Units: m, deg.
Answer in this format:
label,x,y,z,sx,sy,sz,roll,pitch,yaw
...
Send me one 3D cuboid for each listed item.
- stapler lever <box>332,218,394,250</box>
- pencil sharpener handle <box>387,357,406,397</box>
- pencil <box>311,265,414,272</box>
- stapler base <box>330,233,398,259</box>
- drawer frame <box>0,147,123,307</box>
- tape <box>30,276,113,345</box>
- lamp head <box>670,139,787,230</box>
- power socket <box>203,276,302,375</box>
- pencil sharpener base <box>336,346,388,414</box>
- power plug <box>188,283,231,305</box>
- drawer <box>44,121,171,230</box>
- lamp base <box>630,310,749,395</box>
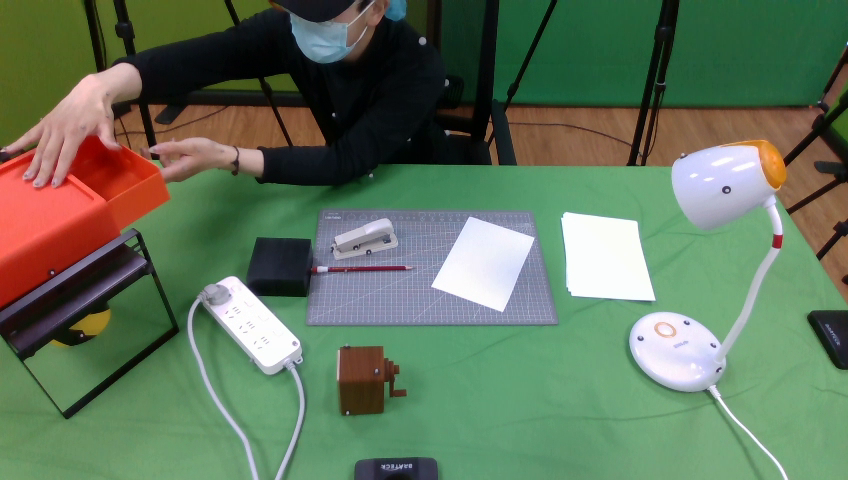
label,x,y,z,sx,sy,sz,roll,pitch,yaw
stapler lever,-0.116,-0.012,1.162,0.118,0.040,0.026,-13,47,-14
pencil sharpener handle,-0.041,0.209,0.919,0.031,0.068,0.036,-1,25,-6
pencil,-0.115,0.055,1.142,0.194,0.012,0.012,1,46,-5
stapler base,-0.116,0.004,1.181,0.131,0.024,0.041,-13,47,-14
drawer frame,-0.598,-0.021,0.884,0.201,0.083,0.213,31,52,23
tape,-0.594,0.117,1.022,0.117,0.053,0.116,3,45,-2
lamp head,0.415,-0.079,0.812,0.113,0.123,0.112,13,70,-37
power socket,-0.297,0.141,1.034,0.072,0.033,0.225,-34,58,-30
pencil sharpener base,-0.094,0.215,0.927,0.077,0.107,0.061,-1,46,-6
power plug,-0.368,0.099,1.037,0.072,0.053,0.035,-24,52,-25
drawer,-0.542,-0.074,0.937,0.193,0.073,0.211,31,55,24
lamp base,0.447,0.142,0.984,0.161,0.181,0.178,-24,55,-24
